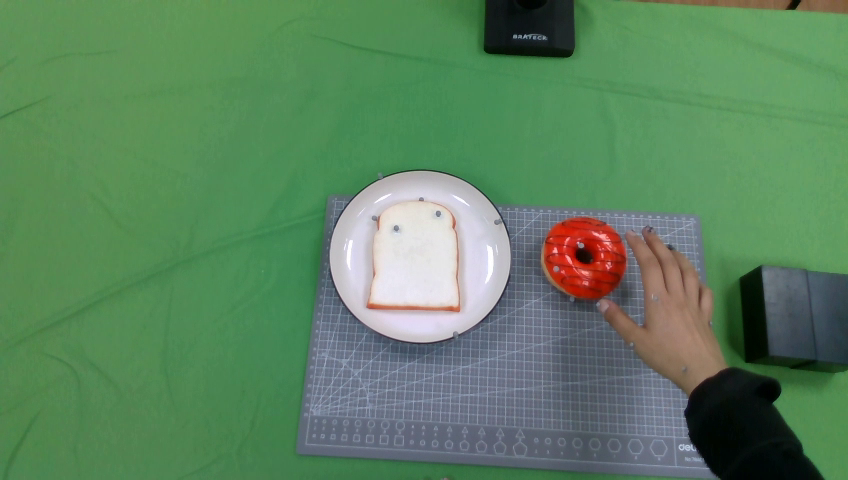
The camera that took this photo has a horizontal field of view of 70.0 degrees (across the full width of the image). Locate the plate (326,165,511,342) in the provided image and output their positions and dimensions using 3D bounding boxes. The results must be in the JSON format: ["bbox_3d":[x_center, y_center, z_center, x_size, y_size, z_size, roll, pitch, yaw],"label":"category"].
[{"bbox_3d":[-0.006,0.016,0.692,0.209,0.038,0.207,0,71,-1],"label":"plate"}]

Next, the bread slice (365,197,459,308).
[{"bbox_3d":[-0.013,0.012,0.695,0.105,0.019,0.130,1,72,-1],"label":"bread slice"}]

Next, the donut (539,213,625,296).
[{"bbox_3d":[0.180,0.017,0.691,0.099,0.048,0.098,1,72,-3],"label":"donut"}]
